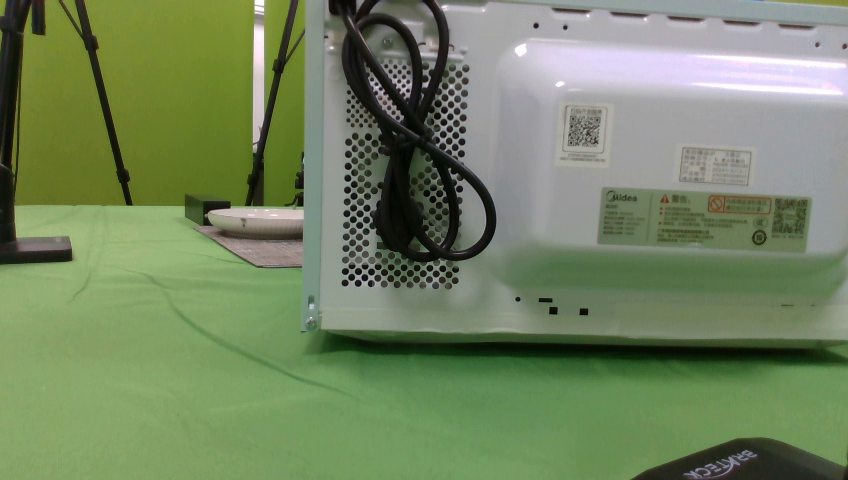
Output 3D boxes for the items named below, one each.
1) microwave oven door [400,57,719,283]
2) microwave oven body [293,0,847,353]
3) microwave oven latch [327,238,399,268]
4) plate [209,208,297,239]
[{"bbox_3d":[0.155,-0.078,0.701,0.356,0.243,0.039,2,8,-4],"label":"microwave oven door"},{"bbox_3d":[0.122,-0.055,0.550,0.442,0.260,0.325,3,7,-5],"label":"microwave oven body"},{"bbox_3d":[-0.069,0.015,0.694,0.079,0.029,0.030,3,7,-3],"label":"microwave oven latch"},{"bbox_3d":[-0.271,-0.029,1.073,0.208,0.039,0.207,3,7,0],"label":"plate"}]
